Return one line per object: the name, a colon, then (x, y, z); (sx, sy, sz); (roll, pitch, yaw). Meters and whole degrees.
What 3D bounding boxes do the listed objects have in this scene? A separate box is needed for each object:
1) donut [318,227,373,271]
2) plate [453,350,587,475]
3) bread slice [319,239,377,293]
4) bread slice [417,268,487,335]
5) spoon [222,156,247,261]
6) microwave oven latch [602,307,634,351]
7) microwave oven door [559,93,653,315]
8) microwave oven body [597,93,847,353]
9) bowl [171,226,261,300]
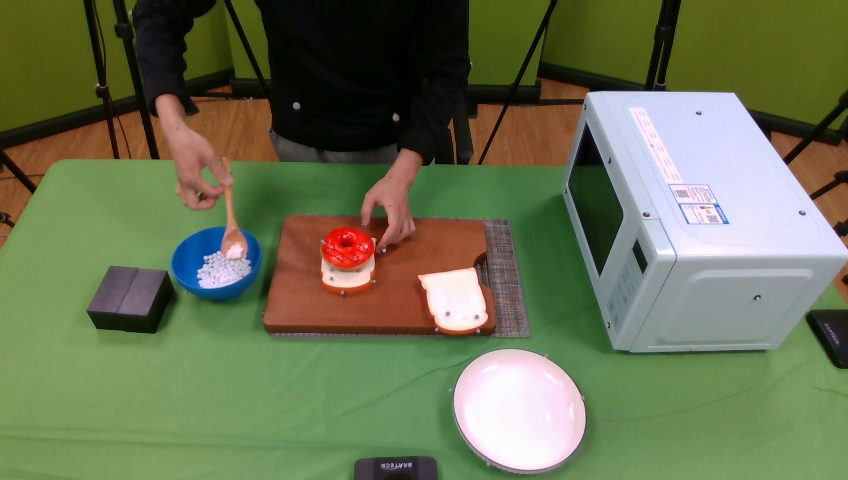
donut: (-0.142, 0.017, 1.096); (0.099, 0.048, 0.098); (2, 44, -2)
plate: (0.147, 0.267, 0.943); (0.208, 0.039, 0.206); (2, 46, -2)
bread slice: (-0.140, 0.044, 1.111); (0.105, 0.019, 0.130); (0, 44, -3)
bread slice: (0.055, 0.107, 1.063); (0.107, 0.018, 0.133); (-9, 48, -12)
spoon: (-0.330, -0.056, 1.036); (0.041, 0.022, 0.193); (-8, 78, -5)
microwave oven latch: (0.332, 0.153, 1.044); (0.030, 0.029, 0.078); (0, 45, -4)
microwave oven door: (0.327, -0.074, 1.123); (0.039, 0.245, 0.353); (-1, 46, -5)
microwave oven body: (0.475, -0.041, 1.109); (0.326, 0.261, 0.438); (-1, 45, -4)
bowl: (-0.363, 0.054, 1.081); (0.151, 0.077, 0.150); (3, 45, -3)
